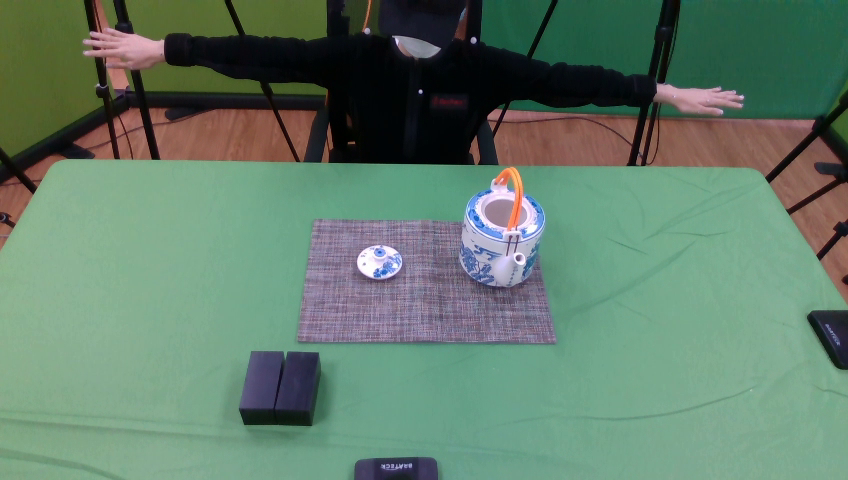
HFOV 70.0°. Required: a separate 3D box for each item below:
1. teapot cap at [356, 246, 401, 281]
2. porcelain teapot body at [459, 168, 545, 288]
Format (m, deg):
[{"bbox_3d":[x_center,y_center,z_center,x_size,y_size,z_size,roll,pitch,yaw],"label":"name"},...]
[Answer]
[{"bbox_3d":[-0.085,0.039,1.135,0.085,0.044,0.084,4,46,-4],"label":"teapot cap"},{"bbox_3d":[0.146,-0.006,1.070,0.145,0.226,0.204,-4,46,-8],"label":"porcelain teapot body"}]
